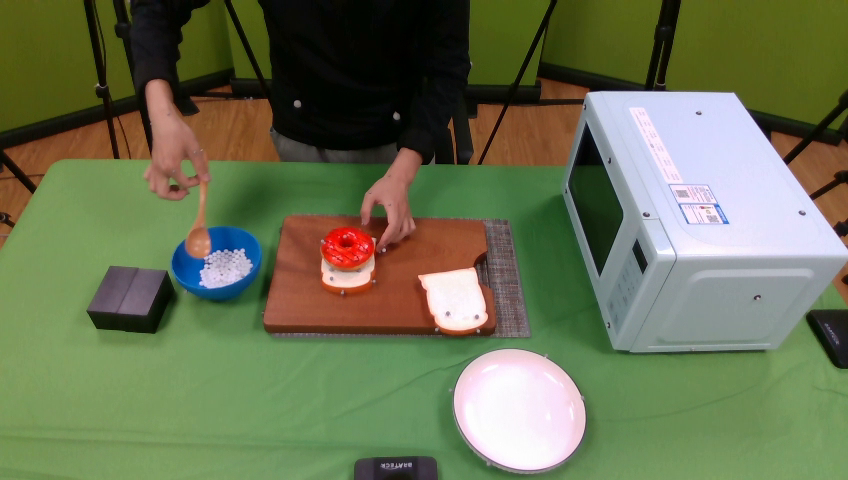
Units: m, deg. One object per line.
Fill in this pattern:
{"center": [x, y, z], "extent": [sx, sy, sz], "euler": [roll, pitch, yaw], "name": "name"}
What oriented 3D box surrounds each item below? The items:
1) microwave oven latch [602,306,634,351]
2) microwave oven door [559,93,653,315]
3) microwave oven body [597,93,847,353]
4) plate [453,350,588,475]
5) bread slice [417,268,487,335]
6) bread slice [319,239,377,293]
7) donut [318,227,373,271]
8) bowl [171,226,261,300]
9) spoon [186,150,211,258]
{"center": [0.332, 0.153, 1.044], "extent": [0.030, 0.029, 0.078], "euler": [0, 45, -4], "name": "microwave oven latch"}
{"center": [0.327, -0.074, 1.123], "extent": [0.039, 0.245, 0.353], "euler": [-1, 46, -5], "name": "microwave oven door"}
{"center": [0.475, -0.041, 1.109], "extent": [0.326, 0.261, 0.438], "euler": [-1, 45, -4], "name": "microwave oven body"}
{"center": [0.147, 0.267, 0.943], "extent": [0.208, 0.039, 0.206], "euler": [2, 45, -2], "name": "plate"}
{"center": [0.055, 0.107, 1.063], "extent": [0.107, 0.018, 0.133], "euler": [-9, 48, -12], "name": "bread slice"}
{"center": [-0.140, 0.044, 1.111], "extent": [0.105, 0.019, 0.130], "euler": [0, 44, -3], "name": "bread slice"}
{"center": [-0.142, 0.017, 1.096], "extent": [0.099, 0.048, 0.098], "euler": [2, 44, -2], "name": "donut"}
{"center": [-0.363, 0.054, 1.081], "extent": [0.151, 0.077, 0.150], "euler": [3, 45, -2], "name": "bowl"}
{"center": [-0.384, -0.064, 1.049], "extent": [0.042, 0.021, 0.193], "euler": [6, 81, -28], "name": "spoon"}
